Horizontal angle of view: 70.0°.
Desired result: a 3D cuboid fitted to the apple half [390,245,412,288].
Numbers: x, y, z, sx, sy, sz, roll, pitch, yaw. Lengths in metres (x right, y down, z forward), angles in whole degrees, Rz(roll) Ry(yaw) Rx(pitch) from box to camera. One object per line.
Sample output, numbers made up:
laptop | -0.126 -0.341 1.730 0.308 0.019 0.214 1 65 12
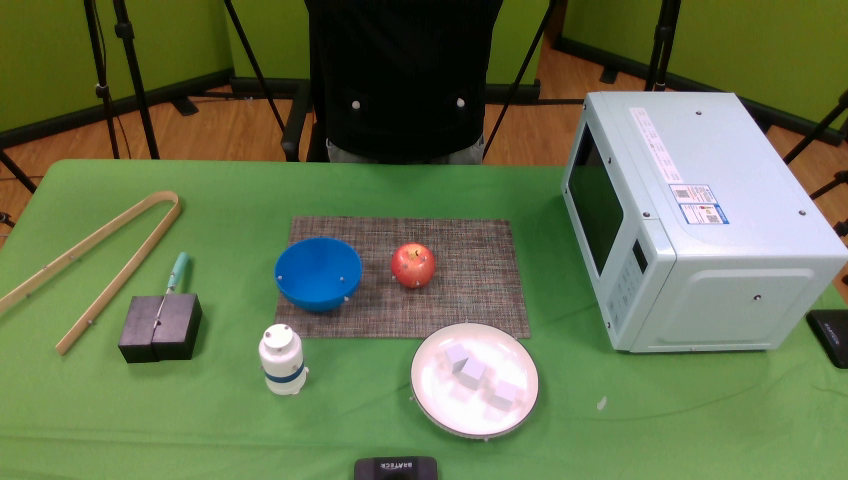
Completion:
apple half | -0.046 0.053 1.105 0.033 0.081 0.080 -8 47 -16

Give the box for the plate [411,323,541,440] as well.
plate | 0.082 0.228 0.976 0.208 0.039 0.206 2 45 -2

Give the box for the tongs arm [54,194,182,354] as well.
tongs arm | -0.543 0.048 1.107 0.028 0.028 0.385 11 45 10

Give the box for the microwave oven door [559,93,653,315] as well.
microwave oven door | 0.327 -0.074 1.123 0.039 0.245 0.353 0 46 -5

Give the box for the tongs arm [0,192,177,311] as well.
tongs arm | -0.618 0.019 1.123 0.050 0.026 0.384 23 47 17

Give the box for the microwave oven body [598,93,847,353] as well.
microwave oven body | 0.475 -0.041 1.110 0.326 0.261 0.438 -1 45 -4

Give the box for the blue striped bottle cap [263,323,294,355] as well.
blue striped bottle cap | -0.217 0.146 0.900 0.044 0.021 0.044 1 46 -1

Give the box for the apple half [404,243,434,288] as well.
apple half | -0.009 0.047 1.115 0.053 0.075 0.080 -8 44 -16

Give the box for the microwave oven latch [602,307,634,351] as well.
microwave oven latch | 0.332 0.153 1.044 0.030 0.029 0.078 -1 45 -4

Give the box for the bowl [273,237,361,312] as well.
bowl | -0.186 0.075 1.069 0.151 0.077 0.150 3 46 -3

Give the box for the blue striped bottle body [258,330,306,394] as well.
blue striped bottle body | -0.220 0.182 0.937 0.063 0.121 0.062 2 46 -2

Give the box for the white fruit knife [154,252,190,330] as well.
white fruit knife | -0.438 0.083 1.053 0.016 0.027 0.206 -2 35 -5
